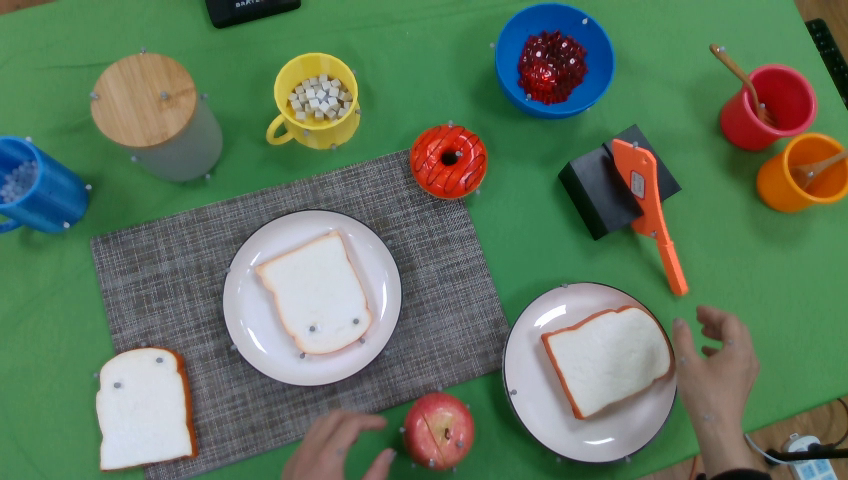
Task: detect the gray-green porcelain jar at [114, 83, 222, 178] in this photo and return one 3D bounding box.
[{"bbox_3d":[-0.299,-0.135,0.704,0.106,0.127,0.105,1,77,-4],"label":"gray-green porcelain jar"}]

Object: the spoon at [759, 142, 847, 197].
[{"bbox_3d":[0.513,-0.110,0.746,0.022,0.193,0.041,-11,72,-52],"label":"spoon"}]

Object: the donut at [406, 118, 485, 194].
[{"bbox_3d":[0.027,-0.105,0.760,0.099,0.048,0.098,1,79,-4],"label":"donut"}]

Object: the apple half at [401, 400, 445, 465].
[{"bbox_3d":[-0.008,0.220,0.676,0.033,0.081,0.081,-25,80,-13],"label":"apple half"}]

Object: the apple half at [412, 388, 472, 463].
[{"bbox_3d":[0.026,0.202,0.684,0.053,0.075,0.080,-26,79,-13],"label":"apple half"}]

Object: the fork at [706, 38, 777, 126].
[{"bbox_3d":[0.400,-0.195,0.756,0.209,0.018,0.028,25,72,-41],"label":"fork"}]

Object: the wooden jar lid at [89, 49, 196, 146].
[{"bbox_3d":[-0.296,-0.149,0.643,0.108,0.021,0.108,1,76,-3],"label":"wooden jar lid"}]

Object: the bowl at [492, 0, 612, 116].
[{"bbox_3d":[0.156,-0.220,0.780,0.151,0.077,0.150,1,79,-4],"label":"bowl"}]

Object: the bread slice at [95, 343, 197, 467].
[{"bbox_3d":[-0.320,0.183,0.687,0.105,0.019,0.131,-10,80,-7],"label":"bread slice"}]

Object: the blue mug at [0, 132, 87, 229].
[{"bbox_3d":[-0.462,-0.054,0.685,0.116,0.106,0.082,-43,83,-11],"label":"blue mug"}]

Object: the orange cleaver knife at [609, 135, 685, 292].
[{"bbox_3d":[0.274,-0.031,0.746,0.012,0.076,0.213,-30,111,-15],"label":"orange cleaver knife"}]

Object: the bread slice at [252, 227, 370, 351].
[{"bbox_3d":[-0.124,0.063,0.718,0.107,0.018,0.134,-28,81,-9],"label":"bread slice"}]

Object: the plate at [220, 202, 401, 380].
[{"bbox_3d":[-0.131,0.060,0.717,0.208,0.039,0.206,1,78,-4],"label":"plate"}]

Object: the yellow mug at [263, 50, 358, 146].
[{"bbox_3d":[-0.146,-0.166,0.753,0.131,0.064,0.099,-41,84,-10],"label":"yellow mug"}]

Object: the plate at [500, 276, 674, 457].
[{"bbox_3d":[0.191,0.149,0.724,0.209,0.038,0.208,1,78,-3],"label":"plate"}]
